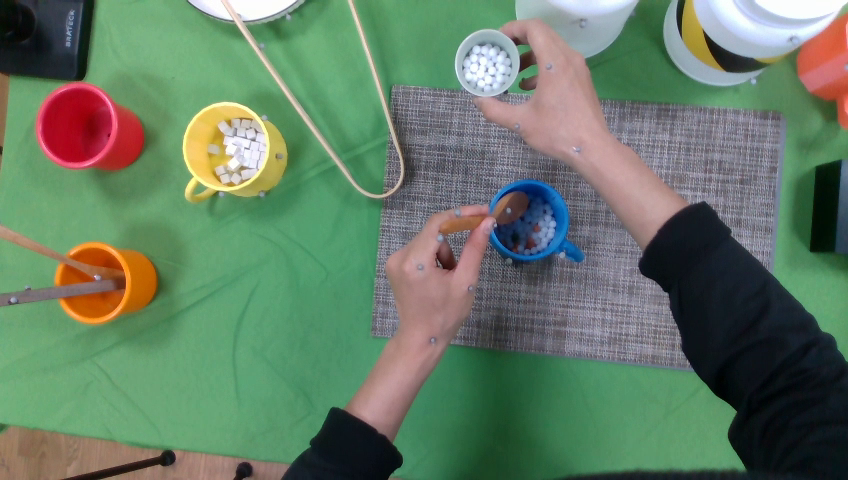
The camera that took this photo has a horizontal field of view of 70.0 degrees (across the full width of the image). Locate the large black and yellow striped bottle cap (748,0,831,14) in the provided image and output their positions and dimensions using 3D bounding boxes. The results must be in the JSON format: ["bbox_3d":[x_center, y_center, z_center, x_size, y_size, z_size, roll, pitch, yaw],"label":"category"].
[{"bbox_3d":[0.321,-0.255,0.523,0.115,0.019,0.115,0,91,3],"label":"large black and yellow striped bottle cap"}]

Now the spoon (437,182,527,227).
[{"bbox_3d":[0.059,-0.030,0.560,0.021,0.194,0.042,38,113,14],"label":"spoon"}]

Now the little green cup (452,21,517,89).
[{"bbox_3d":[0.059,-0.174,0.584,0.061,0.038,0.061,1,96,6],"label":"little green cup"}]

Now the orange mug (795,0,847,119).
[{"bbox_3d":[0.463,-0.195,0.640,0.083,0.101,0.126,-4,85,5],"label":"orange mug"}]

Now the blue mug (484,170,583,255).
[{"bbox_3d":[0.120,-0.019,0.656,0.116,0.106,0.082,33,92,4],"label":"blue mug"}]

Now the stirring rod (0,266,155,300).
[{"bbox_3d":[-0.397,0.048,0.681,0.177,0.006,0.014,-9,83,-37],"label":"stirring rod"}]

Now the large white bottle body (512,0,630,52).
[{"bbox_3d":[0.159,-0.284,0.618,0.130,0.185,0.130,0,89,5],"label":"large white bottle body"}]

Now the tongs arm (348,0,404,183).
[{"bbox_3d":[-0.087,-0.253,0.693,0.028,0.027,0.388,-19,95,-5],"label":"tongs arm"}]

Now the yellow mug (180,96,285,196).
[{"bbox_3d":[-0.231,-0.100,0.706,0.100,0.064,0.131,44,94,3],"label":"yellow mug"}]

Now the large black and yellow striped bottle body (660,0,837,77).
[{"bbox_3d":[0.328,-0.252,0.607,0.130,0.184,0.130,0,89,5],"label":"large black and yellow striped bottle body"}]

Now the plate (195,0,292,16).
[{"bbox_3d":[-0.209,-0.366,0.718,0.207,0.039,0.207,0,90,4],"label":"plate"}]

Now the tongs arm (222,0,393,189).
[{"bbox_3d":[-0.161,-0.214,0.695,0.051,0.026,0.385,-33,95,0],"label":"tongs arm"}]

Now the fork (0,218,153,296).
[{"bbox_3d":[-0.403,0.013,0.676,0.209,0.018,0.028,35,87,-39],"label":"fork"}]
